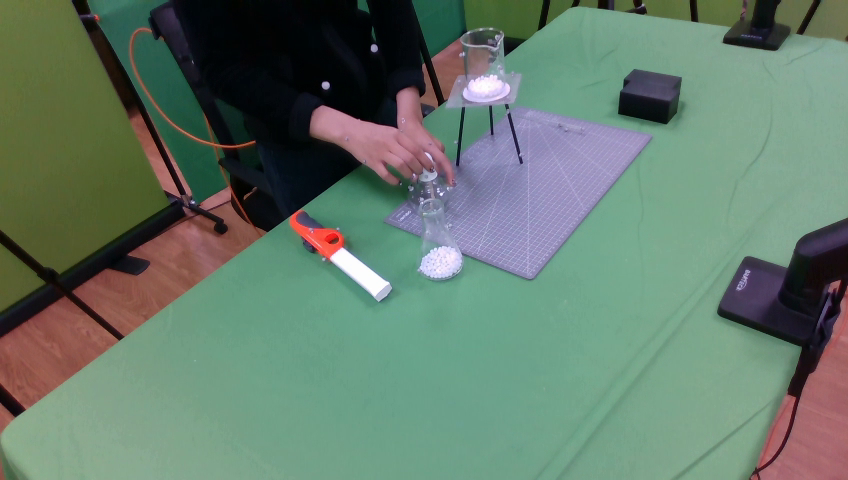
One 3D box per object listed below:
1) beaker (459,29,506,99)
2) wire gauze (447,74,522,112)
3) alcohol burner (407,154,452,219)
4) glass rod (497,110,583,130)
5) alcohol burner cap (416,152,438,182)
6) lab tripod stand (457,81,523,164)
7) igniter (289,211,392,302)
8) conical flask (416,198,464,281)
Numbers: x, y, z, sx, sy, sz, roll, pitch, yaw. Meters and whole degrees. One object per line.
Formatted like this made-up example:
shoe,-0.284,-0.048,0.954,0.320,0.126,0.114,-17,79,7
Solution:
beaker,0.107,-0.305,1.056,0.074,0.101,0.083,-27,43,-18
wire gauze,0.110,-0.268,1.087,0.121,0.011,0.125,1,43,15
alcohol burner,0.008,-0.096,1.020,0.078,0.119,0.077,-4,39,4
glass rod,0.233,-0.245,1.235,0.198,0.008,0.008,20,49,35
alcohol burner cap,0.003,-0.122,0.996,0.034,0.048,0.033,-10,38,8
lab tripod stand,0.120,-0.219,1.130,0.148,0.132,0.147,-7,39,6
igniter,-0.145,0.019,0.986,0.057,0.025,0.274,-40,48,-18
conical flask,0.019,-0.004,0.907,0.075,0.122,0.075,-5,40,5
